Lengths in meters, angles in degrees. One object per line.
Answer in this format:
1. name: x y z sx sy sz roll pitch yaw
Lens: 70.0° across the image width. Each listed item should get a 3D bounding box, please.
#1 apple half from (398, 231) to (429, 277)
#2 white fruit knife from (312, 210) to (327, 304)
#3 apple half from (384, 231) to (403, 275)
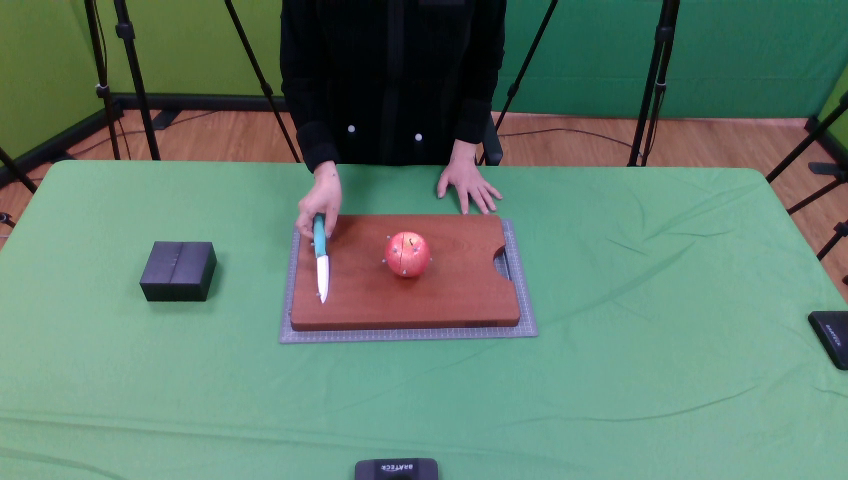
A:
1. apple half: -0.018 0.028 1.095 0.053 0.075 0.080 6 42 -4
2. white fruit knife: -0.190 0.027 1.107 0.027 0.016 0.206 13 50 -29
3. apple half: -0.056 0.025 1.092 0.033 0.081 0.081 5 46 -3
